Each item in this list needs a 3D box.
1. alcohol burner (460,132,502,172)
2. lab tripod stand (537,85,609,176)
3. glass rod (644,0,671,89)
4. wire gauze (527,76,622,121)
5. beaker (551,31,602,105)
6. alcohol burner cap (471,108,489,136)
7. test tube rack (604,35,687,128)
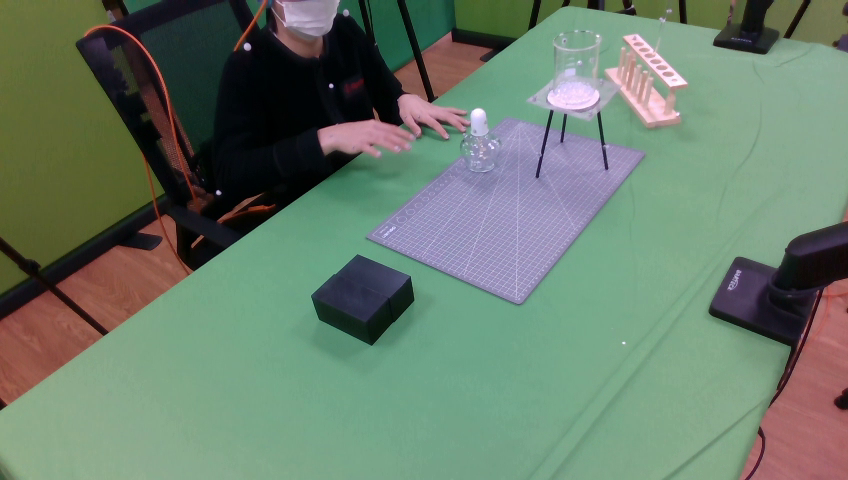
[{"bbox_3d":[0.102,-0.185,1.098,0.078,0.119,0.077,-6,40,6],"label":"alcohol burner"},{"bbox_3d":[0.259,-0.192,1.068,0.148,0.132,0.147,-4,43,4],"label":"lab tripod stand"},{"bbox_3d":[0.463,-0.387,1.204,0.008,0.200,0.008,0,46,1],"label":"glass rod"},{"bbox_3d":[0.255,-0.247,1.030,0.124,0.011,0.122,23,49,34],"label":"wire gauze"},{"bbox_3d":[0.252,-0.282,0.998,0.084,0.101,0.073,-16,42,-7],"label":"beaker"},{"bbox_3d":[0.098,-0.211,1.074,0.034,0.048,0.033,-6,41,6],"label":"alcohol burner cap"},{"bbox_3d":[0.447,-0.330,1.241,0.067,0.085,0.241,-9,41,-2],"label":"test tube rack"}]
